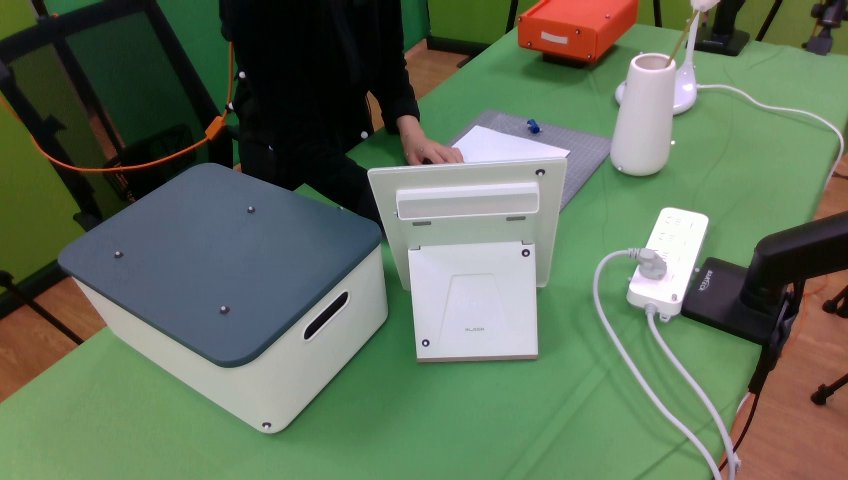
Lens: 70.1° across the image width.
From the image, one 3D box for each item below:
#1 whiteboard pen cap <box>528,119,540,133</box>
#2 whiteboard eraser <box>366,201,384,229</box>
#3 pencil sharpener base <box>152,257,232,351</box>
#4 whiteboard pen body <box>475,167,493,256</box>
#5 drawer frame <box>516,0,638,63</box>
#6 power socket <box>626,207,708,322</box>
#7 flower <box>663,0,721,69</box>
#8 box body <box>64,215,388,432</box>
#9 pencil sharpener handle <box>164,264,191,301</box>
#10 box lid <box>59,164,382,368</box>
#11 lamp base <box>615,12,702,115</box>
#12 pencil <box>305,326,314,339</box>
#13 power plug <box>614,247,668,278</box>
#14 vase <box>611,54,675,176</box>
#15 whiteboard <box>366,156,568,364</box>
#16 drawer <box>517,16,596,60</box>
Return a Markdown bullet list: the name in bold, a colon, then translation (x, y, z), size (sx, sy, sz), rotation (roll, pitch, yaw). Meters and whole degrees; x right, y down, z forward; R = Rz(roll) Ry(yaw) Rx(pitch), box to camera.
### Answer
- **whiteboard pen cap**: translation (0.221, -0.229, 1.211), size (0.018, 0.018, 0.033), rotation (-13, 40, -7)
- **whiteboard eraser**: translation (-0.038, -0.038, 1.006), size (0.112, 0.042, 0.055), rotation (17, 47, 25)
- **pencil sharpener base**: translation (-0.322, 0.088, 0.842), size (0.061, 0.107, 0.076), rotation (-27, 44, -20)
- **whiteboard pen body**: translation (0.086, -0.041, 0.851), size (0.017, 0.017, 0.140), rotation (-5, 65, 2)
- **drawer frame**: translation (0.355, -0.508, 1.410), size (0.200, 0.083, 0.214), rotation (23, 51, 32)
- **power socket**: translation (0.359, 0.026, 0.886), size (0.072, 0.033, 0.227), rotation (16, 46, 26)
- **flower**: translation (0.379, -0.261, 0.965), size (0.044, 0.362, 0.038), rotation (20, 53, 5)
- **box body**: translation (-0.256, 0.065, 0.827), size (0.361, 0.161, 0.255), rotation (20, 48, 29)
- **pencil sharpener handle**: translation (-0.354, 0.055, 0.866), size (0.036, 0.068, 0.030), rotation (-17, 39, -29)
- **box lid**: translation (-0.263, 0.010, 0.777), size (0.368, 0.015, 0.264), rotation (20, 47, 29)
- **lamp base**: translation (0.484, -0.363, 1.211), size (0.180, 0.181, 0.159), rotation (-15, 41, -14)
- **pencil**: translation (-0.187, 0.106, 0.880), size (0.012, 0.012, 0.192), rotation (-27, 42, -22)
- **power plug**: translation (0.306, 0.031, 0.851), size (0.072, 0.053, 0.035), rotation (24, 49, 33)
- **vase**: translation (0.377, -0.209, 1.031), size (0.098, 0.201, 0.097), rotation (-3, 40, 3)
- **whiteboard**: translation (0.059, 0.050, 0.738), size (0.217, 0.307, 0.143), rotation (-2, 60, 6)
- **drawer**: translation (0.352, -0.506, 1.405), size (0.193, 0.073, 0.212), rotation (23, 49, 32)
